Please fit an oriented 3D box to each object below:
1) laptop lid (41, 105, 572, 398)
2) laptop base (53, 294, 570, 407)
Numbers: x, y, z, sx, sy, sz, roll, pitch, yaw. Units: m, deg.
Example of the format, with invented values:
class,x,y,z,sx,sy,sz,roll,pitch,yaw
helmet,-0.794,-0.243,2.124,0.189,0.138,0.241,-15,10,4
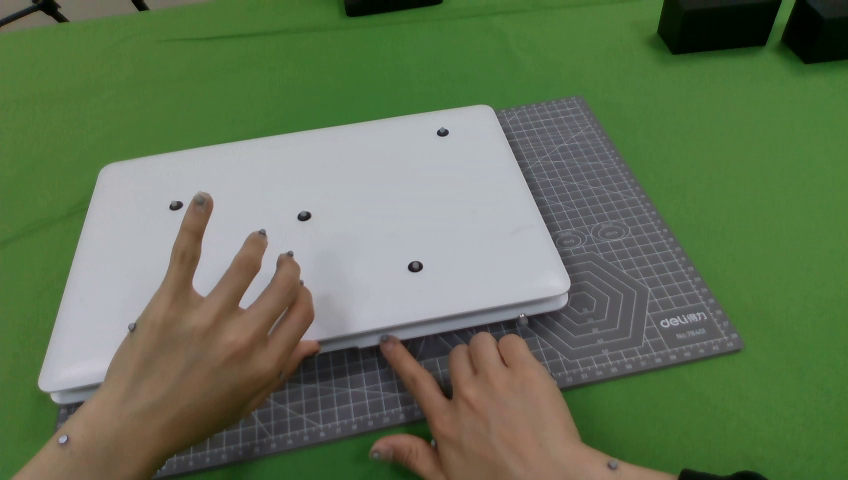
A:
class,x,y,z,sx,sy,sz,roll,pitch,yaw
laptop lid,-0.090,-0.013,0.468,0.357,0.013,0.239,-9,47,-3
laptop base,-0.089,-0.003,0.483,0.355,0.023,0.233,-10,51,-4
